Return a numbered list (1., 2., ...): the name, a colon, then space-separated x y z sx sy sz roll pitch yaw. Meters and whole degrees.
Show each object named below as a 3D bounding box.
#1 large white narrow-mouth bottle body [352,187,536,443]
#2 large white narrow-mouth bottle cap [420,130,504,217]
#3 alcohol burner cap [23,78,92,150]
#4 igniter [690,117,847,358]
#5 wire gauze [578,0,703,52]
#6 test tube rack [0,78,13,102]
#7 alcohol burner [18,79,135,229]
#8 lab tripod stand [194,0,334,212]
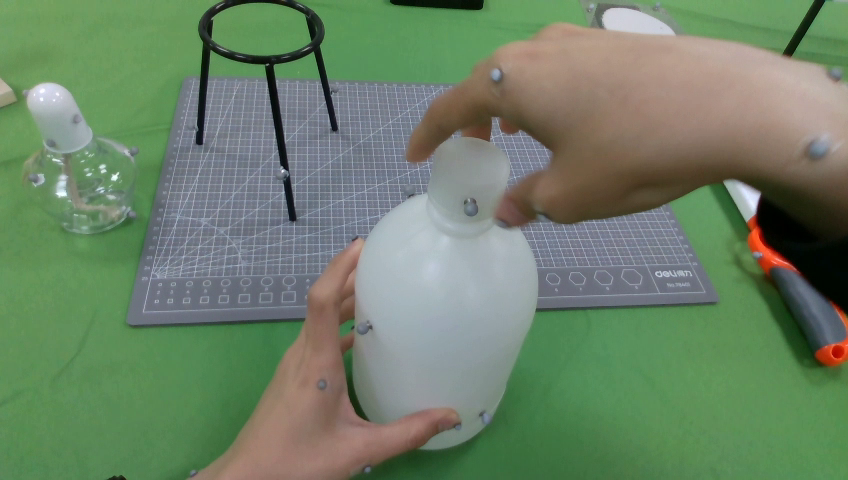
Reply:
1. large white narrow-mouth bottle body: 0.009 0.032 0.343 0.102 0.196 0.101 4 48 -4
2. large white narrow-mouth bottle cap: 0.017 -0.030 0.274 0.038 0.024 0.037 4 49 -4
3. alcohol burner cap: -0.252 -0.088 0.413 0.034 0.048 0.033 3 55 -4
4. igniter: 0.302 -0.016 0.540 0.057 0.025 0.273 8 48 -16
5. wire gauze: 0.234 -0.245 0.678 0.122 0.011 0.123 0 50 -10
6. test tube rack: -0.476 -0.116 0.470 0.066 0.086 0.242 37 54 22
7. alcohol burner: -0.256 -0.065 0.441 0.078 0.120 0.077 5 47 -5
8. lab tripod stand: -0.125 -0.117 0.489 0.149 0.132 0.147 6 49 -6
